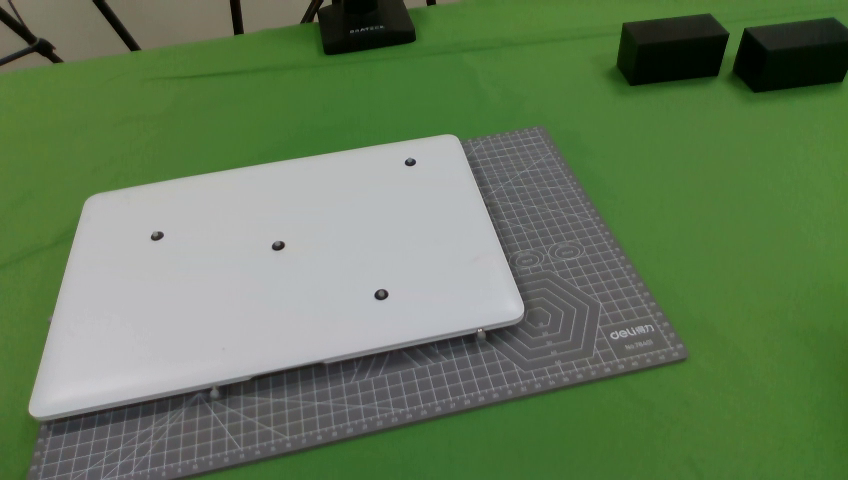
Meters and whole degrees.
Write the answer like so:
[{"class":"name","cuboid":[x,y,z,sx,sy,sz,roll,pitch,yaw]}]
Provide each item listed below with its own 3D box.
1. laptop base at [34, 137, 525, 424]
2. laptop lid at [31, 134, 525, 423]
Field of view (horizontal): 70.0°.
[{"class":"laptop base","cuboid":[-0.117,0.016,0.509,0.355,0.023,0.233,-11,48,-5]},{"class":"laptop lid","cuboid":[-0.118,0.009,0.499,0.357,0.013,0.239,-10,47,-4]}]
